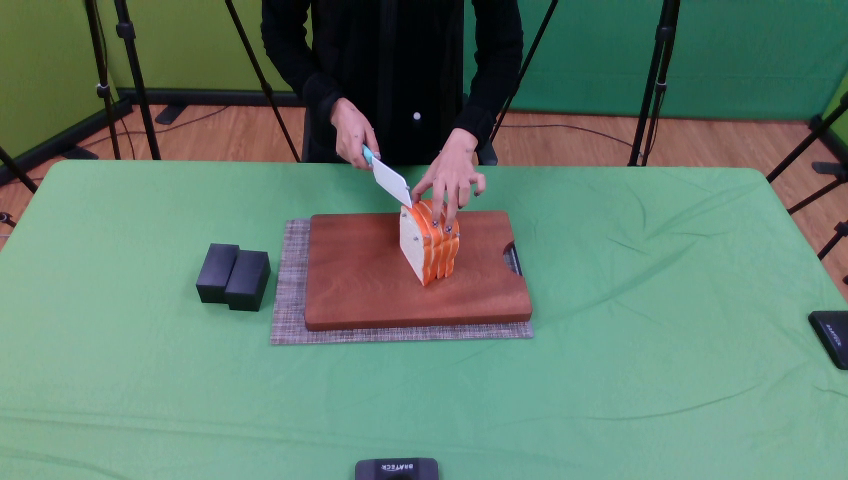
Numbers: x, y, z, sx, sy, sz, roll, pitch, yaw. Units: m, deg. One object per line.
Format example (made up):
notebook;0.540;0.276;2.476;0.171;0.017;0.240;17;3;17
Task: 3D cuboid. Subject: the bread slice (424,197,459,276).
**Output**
bread slice;0.031;-0.012;1.098;0.019;0.132;0.104;-17;52;-23

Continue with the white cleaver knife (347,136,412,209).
white cleaver knife;-0.086;-0.125;1.085;0.021;0.066;0.284;-18;31;-17

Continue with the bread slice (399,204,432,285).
bread slice;-0.016;-0.001;1.081;0.018;0.135;0.106;-22;48;-18
